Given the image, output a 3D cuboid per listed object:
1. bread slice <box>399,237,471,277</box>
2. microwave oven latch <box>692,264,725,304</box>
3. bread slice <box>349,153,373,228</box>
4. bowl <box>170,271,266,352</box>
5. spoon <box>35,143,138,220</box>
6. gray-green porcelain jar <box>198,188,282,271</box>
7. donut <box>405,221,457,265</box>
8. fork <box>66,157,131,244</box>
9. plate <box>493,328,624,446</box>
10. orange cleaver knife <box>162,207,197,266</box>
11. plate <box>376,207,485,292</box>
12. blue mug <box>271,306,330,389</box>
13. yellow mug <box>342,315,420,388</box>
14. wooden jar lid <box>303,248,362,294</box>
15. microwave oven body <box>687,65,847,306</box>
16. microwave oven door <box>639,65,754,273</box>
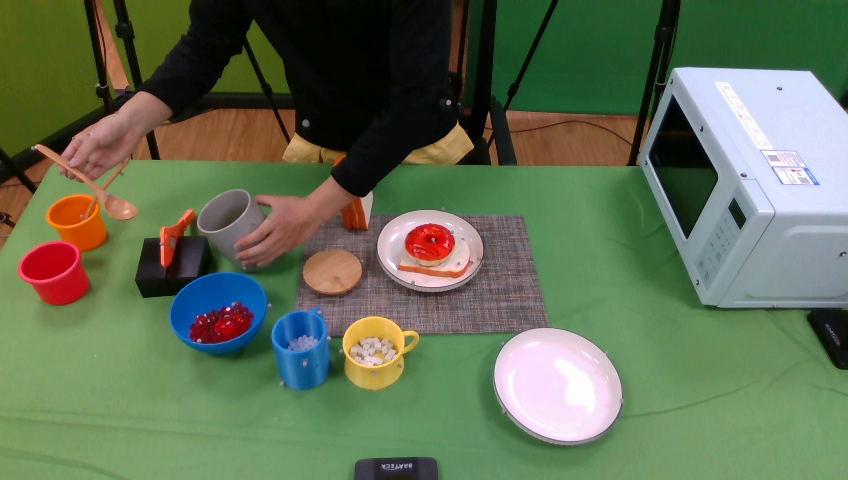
[{"bbox_3d":[0.025,0.025,1.161,0.131,0.019,0.104,7,47,8],"label":"bread slice"},{"bbox_3d":[0.522,0.081,1.116,0.030,0.029,0.078,1,46,-2],"label":"microwave oven latch"},{"bbox_3d":[-0.125,-0.104,1.207,0.018,0.135,0.106,0,48,7],"label":"bread slice"},{"bbox_3d":[-0.333,0.132,1.006,0.151,0.077,0.150,2,46,-2],"label":"bowl"},{"bbox_3d":[-0.552,-0.097,0.991,0.194,0.021,0.041,41,47,-7],"label":"spoon"},{"bbox_3d":[-0.327,-0.014,1.101,0.106,0.127,0.105,-14,46,15],"label":"gray-green porcelain jar"},{"bbox_3d":[0.013,0.004,1.136,0.099,0.048,0.098,0,46,0],"label":"donut"},{"bbox_3d":[-0.609,-0.074,1.133,0.207,0.019,0.028,-52,51,10],"label":"fork"},{"bbox_3d":[0.213,0.236,0.974,0.208,0.039,0.206,2,46,-2],"label":"plate"},{"bbox_3d":[-0.454,-0.010,1.129,0.012,0.077,0.210,-1,17,-6],"label":"orange cleaver knife"},{"bbox_3d":[0.012,0.021,1.159,0.209,0.038,0.208,2,47,-2],"label":"plate"},{"bbox_3d":[-0.188,0.163,0.969,0.082,0.106,0.116,15,47,10],"label":"blue mug"},{"bbox_3d":[-0.068,0.177,0.991,0.131,0.064,0.099,-15,50,-19],"label":"yellow mug"},{"bbox_3d":[-0.169,0.059,1.122,0.108,0.021,0.107,2,46,-2],"label":"wooden jar lid"},{"bbox_3d":[0.669,-0.111,1.176,0.326,0.261,0.439,0,46,-3],"label":"microwave oven body"},{"bbox_3d":[0.522,-0.147,1.192,0.039,0.245,0.353,0,47,-3],"label":"microwave oven door"}]
